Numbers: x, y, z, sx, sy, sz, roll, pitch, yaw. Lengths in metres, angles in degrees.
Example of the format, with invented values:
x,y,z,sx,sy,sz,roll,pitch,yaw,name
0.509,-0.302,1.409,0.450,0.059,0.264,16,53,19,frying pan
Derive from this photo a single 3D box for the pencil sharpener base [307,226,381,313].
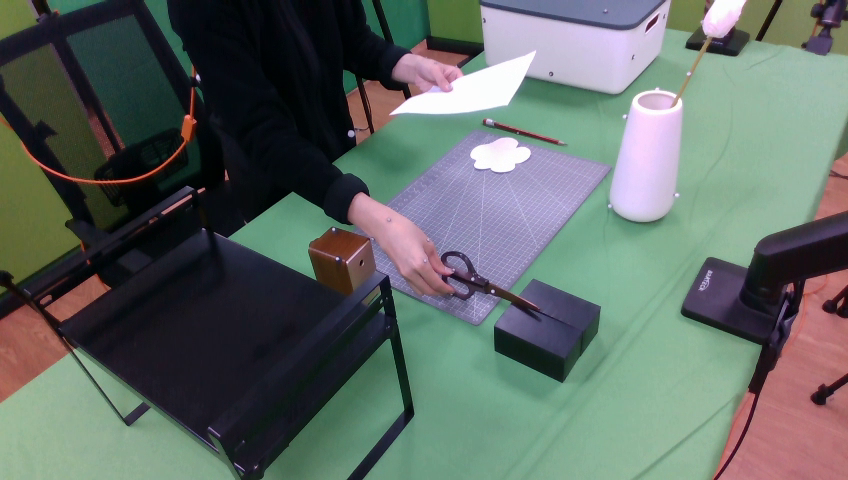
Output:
x,y,z,sx,sy,sz,roll,pitch,yaw,name
-0.116,0.043,0.875,0.076,0.107,0.061,18,47,27,pencil sharpener base

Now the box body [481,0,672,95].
x,y,z,sx,sy,sz,roll,pitch,yaw,name
0.341,-0.480,1.381,0.361,0.161,0.255,22,48,30,box body

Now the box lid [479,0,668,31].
x,y,z,sx,sy,sz,roll,pitch,yaw,name
0.335,-0.536,1.331,0.368,0.015,0.264,23,49,30,box lid

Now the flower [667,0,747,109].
x,y,z,sx,sy,sz,roll,pitch,yaw,name
0.354,-0.187,0.879,0.038,0.362,0.044,30,48,14,flower

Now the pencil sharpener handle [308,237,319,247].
x,y,z,sx,sy,sz,roll,pitch,yaw,name
-0.159,0.018,0.892,0.030,0.068,0.036,18,60,28,pencil sharpener handle

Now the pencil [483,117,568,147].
x,y,z,sx,sy,sz,roll,pitch,yaw,name
0.201,-0.216,1.212,0.192,0.012,0.012,25,50,29,pencil

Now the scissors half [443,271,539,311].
x,y,z,sx,sy,sz,roll,pitch,yaw,name
0.089,0.075,0.832,0.013,0.040,0.173,-23,22,-37,scissors half

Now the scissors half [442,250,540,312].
x,y,z,sx,sy,sz,roll,pitch,yaw,name
0.087,0.056,0.824,0.013,0.040,0.173,-29,44,-35,scissors half

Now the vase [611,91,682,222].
x,y,z,sx,sy,sz,roll,pitch,yaw,name
0.348,-0.125,0.935,0.098,0.201,0.097,-3,40,3,vase
